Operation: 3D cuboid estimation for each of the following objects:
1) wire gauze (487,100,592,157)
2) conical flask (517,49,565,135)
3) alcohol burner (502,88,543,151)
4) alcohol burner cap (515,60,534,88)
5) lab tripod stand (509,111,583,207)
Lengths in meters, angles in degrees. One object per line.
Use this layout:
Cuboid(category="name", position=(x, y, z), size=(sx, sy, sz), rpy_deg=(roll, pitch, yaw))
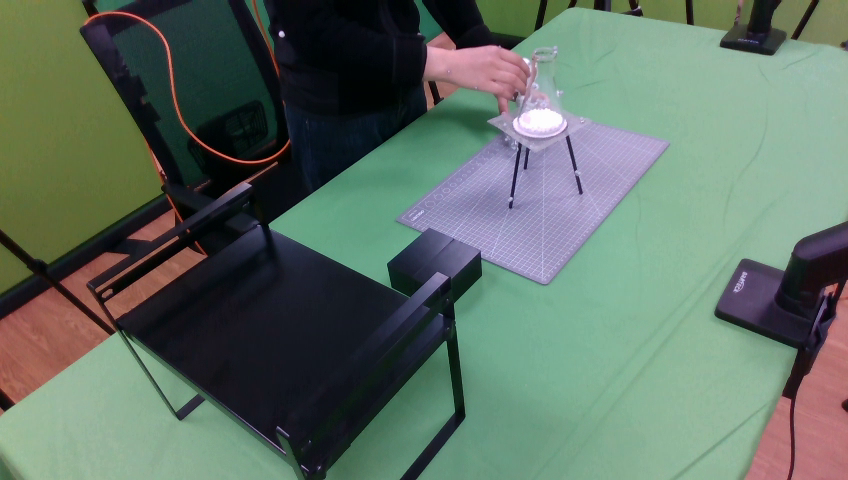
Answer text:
Cuboid(category="wire gauze", position=(0.185, -0.187, 0.974), size=(0.122, 0.011, 0.124), rpy_deg=(-28, 47, -22))
Cuboid(category="conical flask", position=(0.183, -0.231, 0.936), size=(0.075, 0.122, 0.075), rpy_deg=(-4, 40, 4))
Cuboid(category="alcohol burner", position=(0.186, -0.231, 1.146), size=(0.078, 0.119, 0.077), rpy_deg=(-6, 38, 5))
Cuboid(category="alcohol burner cap", position=(0.178, -0.298, 1.076), size=(0.034, 0.048, 0.033), rpy_deg=(-7, 50, 8))
Cuboid(category="lab tripod stand", position=(0.198, -0.139, 1.019), size=(0.148, 0.132, 0.147), rpy_deg=(-3, 39, 3))
